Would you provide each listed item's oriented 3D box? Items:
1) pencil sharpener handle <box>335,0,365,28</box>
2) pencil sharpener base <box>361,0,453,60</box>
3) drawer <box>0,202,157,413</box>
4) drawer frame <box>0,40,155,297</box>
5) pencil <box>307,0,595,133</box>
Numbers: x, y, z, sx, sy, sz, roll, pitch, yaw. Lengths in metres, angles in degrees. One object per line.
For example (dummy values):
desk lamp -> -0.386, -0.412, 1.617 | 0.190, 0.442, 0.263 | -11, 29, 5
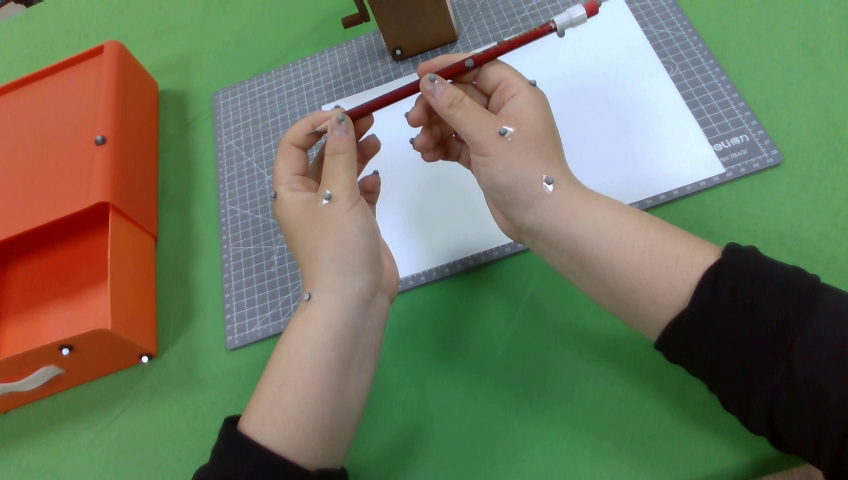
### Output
pencil sharpener handle -> -0.076, -0.222, 0.555 | 0.030, 0.068, 0.035 | -17, 64, 8
pencil sharpener base -> -0.024, -0.230, 0.557 | 0.076, 0.108, 0.061 | -17, 59, 8
drawer -> -0.341, 0.031, 0.534 | 0.194, 0.074, 0.209 | -21, 58, 6
drawer frame -> -0.371, -0.066, 0.592 | 0.201, 0.083, 0.211 | -20, 58, 6
pencil -> 0.015, -0.106, 0.376 | 0.194, 0.012, 0.012 | -24, 58, 2
